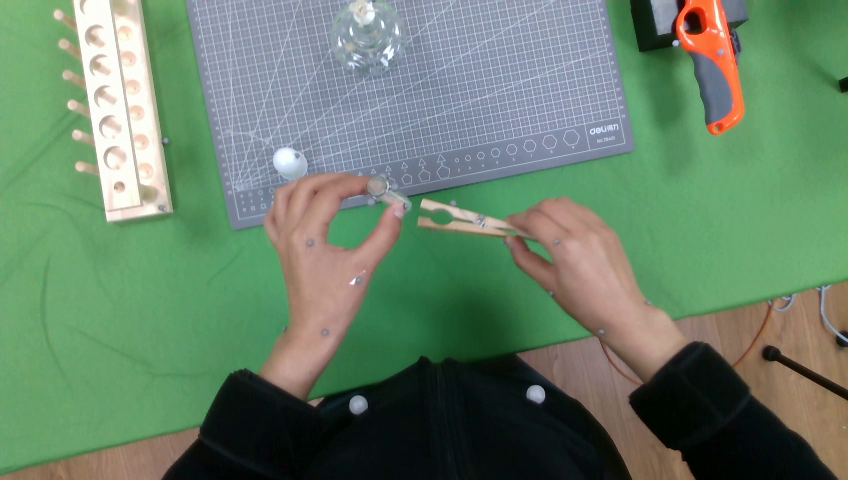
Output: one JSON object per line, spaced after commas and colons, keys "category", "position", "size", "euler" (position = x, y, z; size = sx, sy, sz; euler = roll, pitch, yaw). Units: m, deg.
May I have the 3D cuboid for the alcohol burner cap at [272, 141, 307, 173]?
{"category": "alcohol burner cap", "position": [-0.143, -0.089, 0.635], "size": [0.034, 0.048, 0.034], "euler": [0, 89, -3]}

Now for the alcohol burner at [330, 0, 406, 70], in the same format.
{"category": "alcohol burner", "position": [-0.057, -0.214, 0.604], "size": [0.078, 0.119, 0.078], "euler": [0, 90, -2]}

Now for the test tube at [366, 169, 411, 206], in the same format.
{"category": "test tube", "position": [-0.026, -0.040, 0.488], "size": [0.017, 0.150, 0.017], "euler": [0, 89, 6]}

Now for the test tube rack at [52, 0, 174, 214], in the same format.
{"category": "test tube rack", "position": [-0.319, -0.152, 0.609], "size": [0.067, 0.085, 0.242], "euler": [-9, 90, -2]}

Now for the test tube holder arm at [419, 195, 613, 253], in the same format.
{"category": "test tube holder arm", "position": [0.083, -0.015, 0.548], "size": [0.178, 0.015, 0.013], "euler": [13, 90, 4]}

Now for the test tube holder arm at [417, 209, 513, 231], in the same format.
{"category": "test tube holder arm", "position": [0.038, -0.018, 0.551], "size": [0.088, 0.015, 0.010], "euler": [7, 89, 4]}

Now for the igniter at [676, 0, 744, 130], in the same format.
{"category": "igniter", "position": [0.282, -0.251, 0.618], "size": [0.057, 0.025, 0.276], "euler": [-12, 89, 9]}
